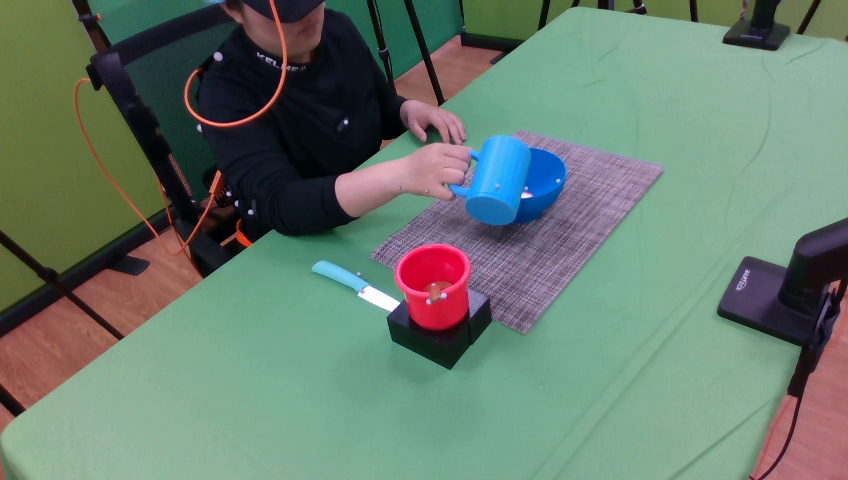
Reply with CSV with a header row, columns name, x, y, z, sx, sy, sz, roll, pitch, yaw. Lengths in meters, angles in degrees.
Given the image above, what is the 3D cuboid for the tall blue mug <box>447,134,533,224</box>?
name,x,y,z,sx,sy,sz,roll,pitch,yaw
tall blue mug,0.096,-0.094,0.874,0.108,0.077,0.108,26,64,-16

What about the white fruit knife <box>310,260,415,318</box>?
name,x,y,z,sx,sy,sz,roll,pitch,yaw
white fruit knife,-0.094,0.074,0.920,0.206,0.016,0.027,24,77,30

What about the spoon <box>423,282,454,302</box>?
name,x,y,z,sx,sy,sz,roll,pitch,yaw
spoon,0.015,0.062,0.733,0.041,0.021,0.194,-5,-4,3

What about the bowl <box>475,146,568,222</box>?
name,x,y,z,sx,sy,sz,roll,pitch,yaw
bowl,0.161,-0.083,1.001,0.151,0.077,0.150,-5,40,5
